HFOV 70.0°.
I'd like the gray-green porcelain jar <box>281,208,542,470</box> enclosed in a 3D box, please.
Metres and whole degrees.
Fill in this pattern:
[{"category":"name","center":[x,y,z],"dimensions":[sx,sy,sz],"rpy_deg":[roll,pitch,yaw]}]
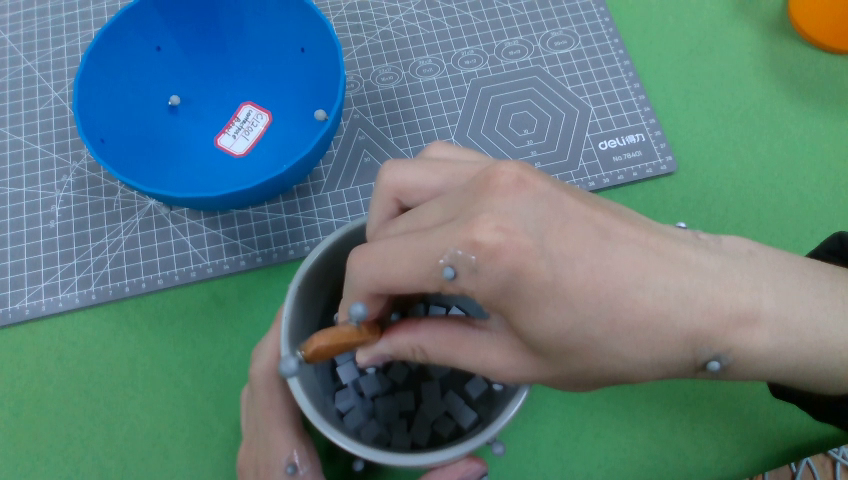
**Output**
[{"category":"gray-green porcelain jar","center":[-0.004,0.057,0.298],"dimensions":[0.106,0.127,0.105],"rpy_deg":[0,68,0]}]

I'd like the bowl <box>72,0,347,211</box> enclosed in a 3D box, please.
[{"category":"bowl","center":[-0.118,-0.076,0.371],"dimensions":[0.151,0.077,0.150],"rpy_deg":[0,69,0]}]
